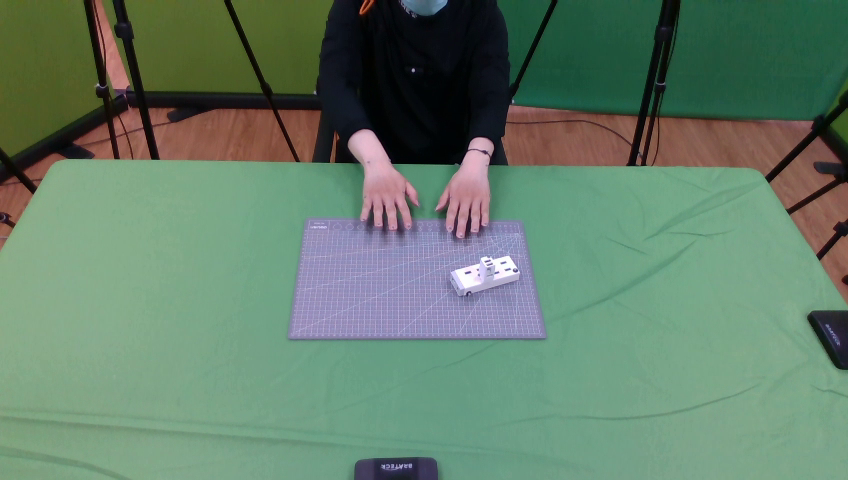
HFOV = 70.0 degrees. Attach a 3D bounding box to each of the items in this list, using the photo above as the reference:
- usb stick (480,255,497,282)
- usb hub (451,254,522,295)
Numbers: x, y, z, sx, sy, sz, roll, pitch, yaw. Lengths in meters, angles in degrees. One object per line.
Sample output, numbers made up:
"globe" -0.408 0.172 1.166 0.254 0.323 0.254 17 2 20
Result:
"usb stick" 0.116 0.056 1.100 0.021 0.059 0.027 -16 51 -17
"usb hub" 0.117 0.065 1.132 0.125 0.025 0.049 -15 49 -16
